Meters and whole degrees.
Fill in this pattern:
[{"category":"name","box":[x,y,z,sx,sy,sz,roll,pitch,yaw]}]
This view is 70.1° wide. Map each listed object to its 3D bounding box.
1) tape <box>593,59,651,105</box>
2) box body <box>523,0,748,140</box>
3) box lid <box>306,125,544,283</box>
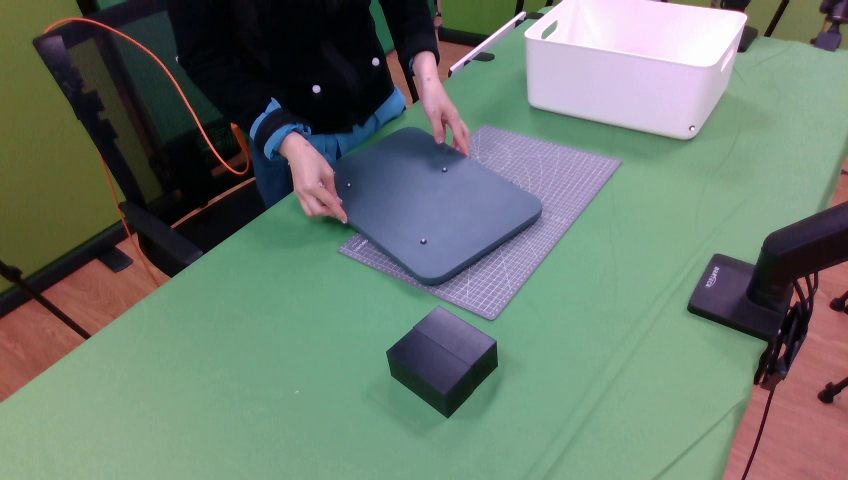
[{"category":"tape","box":[0.409,-0.330,1.260,0.117,0.053,0.116,-5,40,4]},{"category":"box body","box":[0.412,-0.354,1.212,0.361,0.161,0.254,20,48,29]},{"category":"box lid","box":[-0.006,-0.080,1.033,0.264,0.015,0.368,-32,49,-26]}]
